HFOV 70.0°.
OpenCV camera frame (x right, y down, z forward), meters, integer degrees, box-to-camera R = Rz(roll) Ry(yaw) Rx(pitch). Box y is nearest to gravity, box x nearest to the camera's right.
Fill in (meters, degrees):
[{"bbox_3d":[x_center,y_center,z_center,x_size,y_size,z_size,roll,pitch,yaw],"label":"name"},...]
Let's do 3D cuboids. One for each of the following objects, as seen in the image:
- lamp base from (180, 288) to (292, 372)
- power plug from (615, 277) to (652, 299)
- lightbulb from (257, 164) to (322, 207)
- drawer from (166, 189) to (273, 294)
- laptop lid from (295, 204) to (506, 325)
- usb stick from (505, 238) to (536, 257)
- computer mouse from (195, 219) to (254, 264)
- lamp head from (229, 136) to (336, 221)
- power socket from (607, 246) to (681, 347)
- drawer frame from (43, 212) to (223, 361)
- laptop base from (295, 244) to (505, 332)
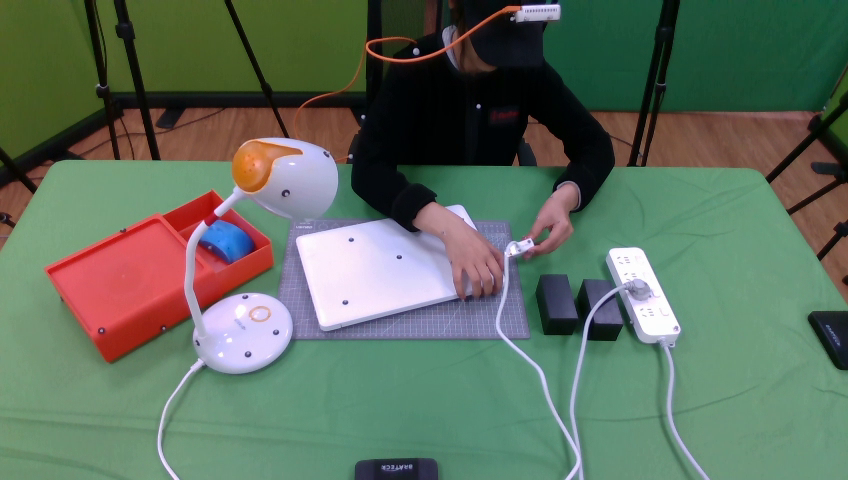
[{"bbox_3d":[-0.309,0.107,0.959,0.160,0.181,0.179,29,55,22],"label":"lamp base"},{"bbox_3d":[0.375,0.088,1.097,0.072,0.053,0.035,5,46,2],"label":"power plug"},{"bbox_3d":[-0.181,-0.077,0.810,0.059,0.059,0.108,36,11,27],"label":"lightbulb"},{"bbox_3d":[-0.419,0.021,1.108,0.193,0.073,0.211,37,55,27],"label":"drawer"},{"bbox_3d":[-0.049,0.034,1.145,0.357,0.013,0.240,-11,45,-15],"label":"laptop lid"},{"bbox_3d":[0.179,0.016,1.135,0.059,0.027,0.021,-23,77,16],"label":"usb stick"},{"bbox_3d":[-0.380,-0.003,1.152,0.116,0.041,0.062,28,53,28],"label":"computer mouse"},{"bbox_3d":[-0.196,-0.085,0.791,0.112,0.112,0.123,36,14,27],"label":"lamp head"},{"bbox_3d":[0.403,0.096,1.123,0.072,0.033,0.225,-3,47,-5],"label":"power socket"},{"bbox_3d":[-0.497,0.073,1.049,0.213,0.083,0.200,-34,57,-31],"label":"drawer frame"},{"bbox_3d":[-0.049,0.044,1.152,0.355,0.023,0.234,-13,45,-15],"label":"laptop base"}]
